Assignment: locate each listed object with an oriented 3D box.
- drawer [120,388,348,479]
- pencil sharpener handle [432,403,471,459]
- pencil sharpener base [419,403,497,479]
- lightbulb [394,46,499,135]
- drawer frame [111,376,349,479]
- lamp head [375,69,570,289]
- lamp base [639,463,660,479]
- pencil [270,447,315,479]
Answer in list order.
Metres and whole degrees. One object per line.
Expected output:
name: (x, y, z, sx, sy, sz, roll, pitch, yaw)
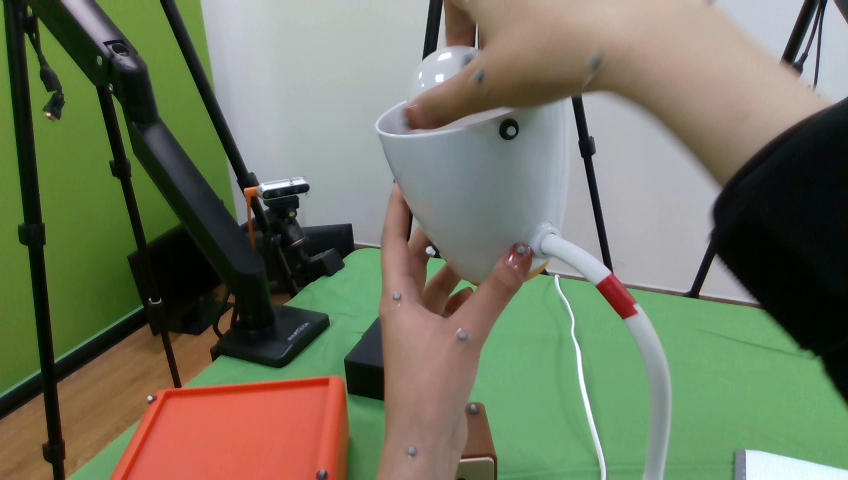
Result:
drawer: (-0.174, 0.229, 0.554, 0.194, 0.074, 0.210, -5, 24, -2)
pencil sharpener handle: (0.024, 0.178, 0.584, 0.036, 0.068, 0.030, 1, 24, -5)
pencil sharpener base: (0.029, 0.209, 0.543, 0.061, 0.108, 0.076, -4, 24, -2)
lightbulb: (0.010, -0.058, 0.355, 0.059, 0.108, 0.059, 7, 26, -3)
drawer frame: (-0.176, 0.227, 0.556, 0.202, 0.083, 0.212, -5, 24, -3)
lamp head: (0.042, -0.031, 0.368, 0.112, 0.124, 0.111, -17, 20, 7)
lamp base: (0.144, 0.243, 0.364, 0.161, 0.181, 0.178, -6, 21, -6)
pencil: (-0.171, 0.245, 0.526, 0.194, 0.012, 0.012, -36, 38, -31)
